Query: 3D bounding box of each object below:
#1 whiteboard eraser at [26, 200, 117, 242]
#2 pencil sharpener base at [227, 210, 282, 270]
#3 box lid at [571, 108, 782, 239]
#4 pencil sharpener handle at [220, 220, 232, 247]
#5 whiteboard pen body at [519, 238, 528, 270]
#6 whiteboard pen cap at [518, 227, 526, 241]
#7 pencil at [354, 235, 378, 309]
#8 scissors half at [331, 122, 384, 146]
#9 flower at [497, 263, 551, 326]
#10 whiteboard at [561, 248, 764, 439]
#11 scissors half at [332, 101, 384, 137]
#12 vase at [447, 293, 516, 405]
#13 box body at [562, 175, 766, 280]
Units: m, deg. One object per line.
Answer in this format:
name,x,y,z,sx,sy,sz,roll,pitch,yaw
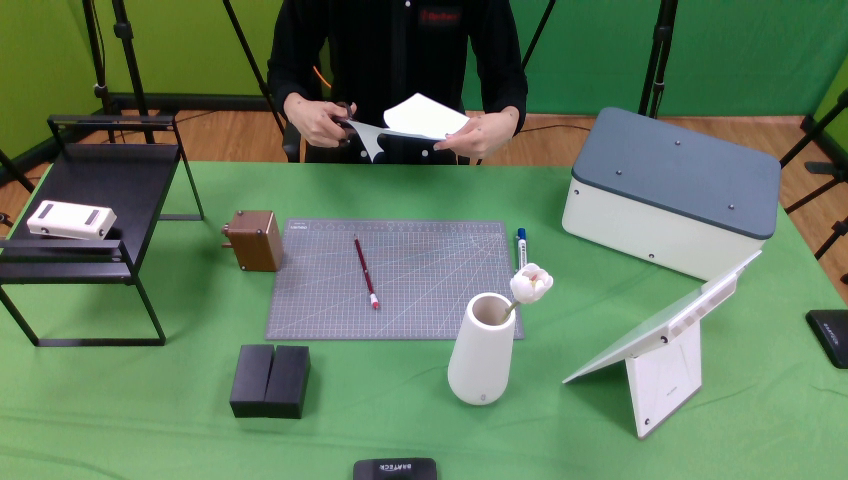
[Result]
whiteboard eraser,-0.532,-0.026,0.919,0.113,0.042,0.055,7,45,3
pencil sharpener base,-0.311,0.001,1.112,0.077,0.107,0.061,1,47,1
box lid,0.491,-0.139,1.168,0.370,0.015,0.262,21,49,15
pencil sharpener handle,-0.362,-0.009,1.104,0.030,0.068,0.036,1,52,1
whiteboard pen body,0.193,0.035,1.180,0.017,0.017,0.140,6,48,1
whiteboard pen cap,0.197,-0.009,1.220,0.018,0.018,0.033,5,51,1
pencil,-0.113,0.055,1.143,0.012,0.012,0.192,-10,46,-13
scissors half,-0.117,-0.187,1.058,0.013,0.040,0.174,-5,7,-36
flower,0.102,0.121,0.852,0.044,0.363,0.038,-1,64,-9
whiteboard,0.386,0.176,0.905,0.217,0.306,0.143,-26,72,-27
scissors half,-0.116,-0.208,1.053,0.013,0.040,0.174,-11,33,-34
vase,0.091,0.169,0.921,0.098,0.201,0.097,3,47,-3
box body,0.486,-0.088,1.222,0.363,0.161,0.253,20,48,15
